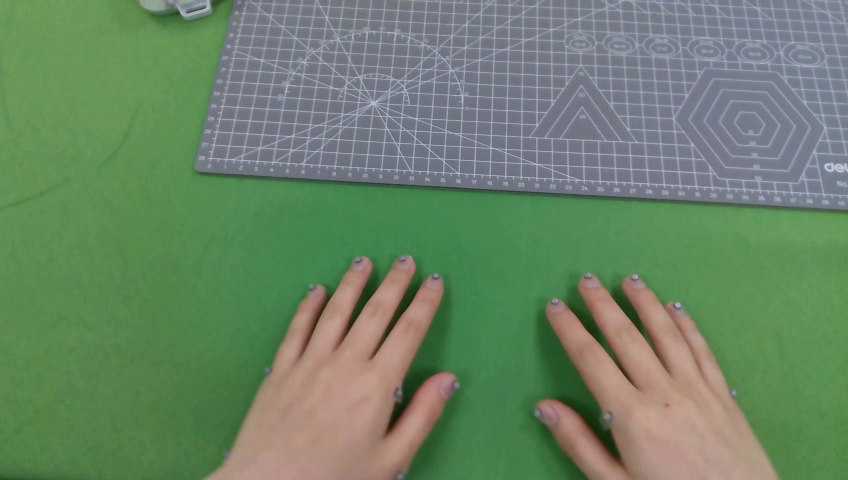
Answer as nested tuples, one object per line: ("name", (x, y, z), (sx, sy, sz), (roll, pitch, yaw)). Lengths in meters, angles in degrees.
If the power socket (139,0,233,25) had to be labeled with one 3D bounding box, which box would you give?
("power socket", (-0.201, -0.260, 0.464), (0.072, 0.033, 0.225), (-19, 69, -9))
